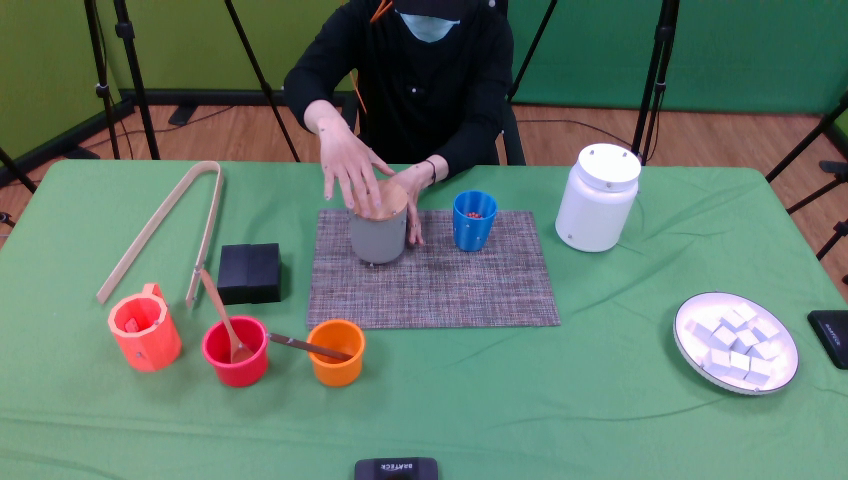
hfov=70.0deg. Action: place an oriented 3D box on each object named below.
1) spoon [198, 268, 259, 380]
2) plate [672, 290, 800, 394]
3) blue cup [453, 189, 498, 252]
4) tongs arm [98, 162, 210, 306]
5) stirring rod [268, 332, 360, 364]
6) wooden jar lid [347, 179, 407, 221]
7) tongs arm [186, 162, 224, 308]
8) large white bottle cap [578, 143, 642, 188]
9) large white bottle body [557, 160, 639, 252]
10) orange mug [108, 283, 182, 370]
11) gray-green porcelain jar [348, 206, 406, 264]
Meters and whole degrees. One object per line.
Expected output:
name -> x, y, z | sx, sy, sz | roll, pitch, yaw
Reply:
spoon -> -0.313, 0.133, 0.962 | 0.041, 0.021, 0.194 | -24, 96, -21
plate -> 0.533, 0.178, 1.050 | 0.208, 0.039, 0.206 | 2, 46, -2
blue cup -> 0.093, -0.032, 1.174 | 0.093, 0.101, 0.092 | 3, 45, -3
tongs arm -> -0.519, -0.026, 1.185 | 0.028, 0.028, 0.385 | 4, 46, 14
stirring rod -> -0.167, 0.169, 0.942 | 0.177, 0.006, 0.014 | 26, 25, -41
wooden jar lid -> -0.084, -0.069, 1.093 | 0.108, 0.021, 0.107 | 1, 47, -1
tongs arm -> -0.435, -0.025, 1.180 | 0.051, 0.027, 0.382 | -4, 46, 1
large white bottle cap -> 0.344, -0.139, 1.123 | 0.115, 0.018, 0.114 | 2, 46, -2
large white bottle body -> 0.340, -0.081, 1.185 | 0.131, 0.185, 0.130 | 2, 46, -2
orange mug -> -0.445, 0.133, 0.983 | 0.083, 0.101, 0.125 | -1, 51, -5
gray-green porcelain jar -> -0.087, -0.026, 1.138 | 0.106, 0.127, 0.105 | 2, 46, -2
